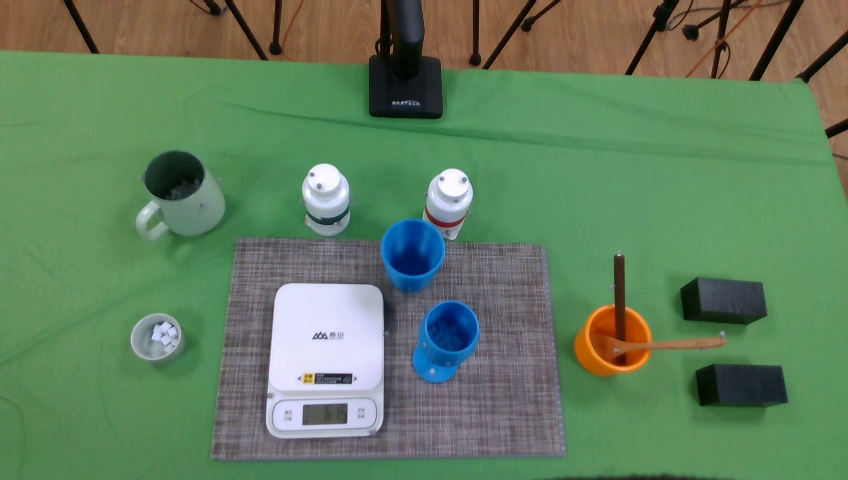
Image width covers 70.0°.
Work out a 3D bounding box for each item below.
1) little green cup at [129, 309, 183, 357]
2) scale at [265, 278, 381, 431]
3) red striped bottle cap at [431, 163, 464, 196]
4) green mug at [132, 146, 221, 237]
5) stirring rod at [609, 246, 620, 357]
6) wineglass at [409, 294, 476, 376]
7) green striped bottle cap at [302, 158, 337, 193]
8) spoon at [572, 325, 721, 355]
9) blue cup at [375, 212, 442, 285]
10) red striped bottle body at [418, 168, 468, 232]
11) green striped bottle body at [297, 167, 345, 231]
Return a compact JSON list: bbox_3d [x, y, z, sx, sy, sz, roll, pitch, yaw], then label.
[{"bbox_3d":[-0.347,0.124,0.790,0.061,0.039,0.061,3,68,-6],"label":"little green cup"},{"bbox_3d":[-0.132,0.148,0.806,0.149,0.032,0.199,0,69,-6],"label":"scale"},{"bbox_3d":[0.032,-0.082,0.815,0.044,0.018,0.044,3,65,-5],"label":"red striped bottle cap"},{"bbox_3d":[-0.344,-0.057,0.827,0.092,0.105,0.125,34,68,7],"label":"green mug"},{"bbox_3d":[0.257,0.086,0.815,0.014,0.177,0.006,6,31,27],"label":"stirring rod"},{"bbox_3d":[0.019,0.123,0.756,0.074,0.173,0.073,2,67,-5],"label":"wineglass"},{"bbox_3d":[-0.137,-0.085,0.793,0.044,0.020,0.044,2,68,-4],"label":"green striped bottle cap"},{"bbox_3d":[0.289,0.130,0.804,0.022,0.193,0.041,16,69,-47],"label":"spoon"},{"bbox_3d":[-0.023,0.020,0.833,0.093,0.100,0.092,2,70,-5],"label":"blue cup"},{"bbox_3d":[0.027,-0.062,0.864,0.063,0.120,0.062,2,68,-6],"label":"red striped bottle body"},{"bbox_3d":[-0.143,-0.063,0.845,0.063,0.120,0.062,2,68,-6],"label":"green striped bottle body"}]
